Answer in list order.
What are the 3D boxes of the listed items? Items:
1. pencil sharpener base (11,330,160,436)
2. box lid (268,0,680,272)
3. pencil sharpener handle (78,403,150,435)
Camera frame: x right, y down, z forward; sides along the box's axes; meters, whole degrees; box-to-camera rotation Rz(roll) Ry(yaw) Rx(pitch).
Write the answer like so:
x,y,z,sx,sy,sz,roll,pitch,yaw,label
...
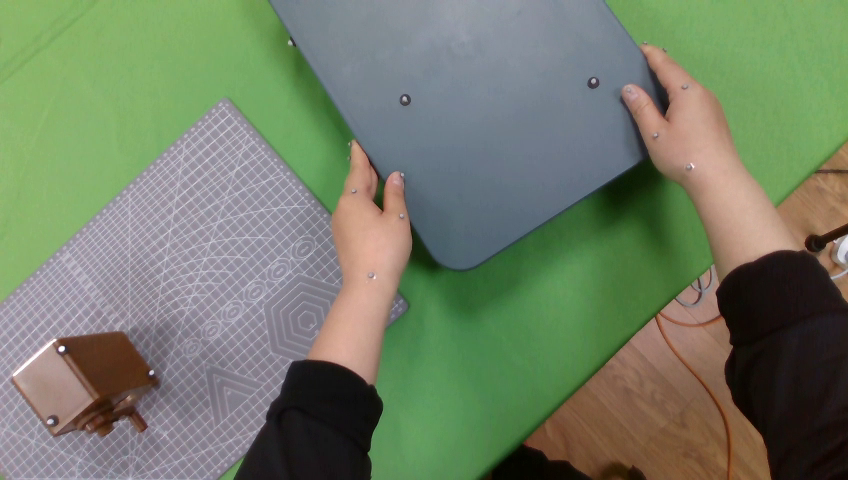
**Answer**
x,y,z,sx,sy,sz,roll,pitch,yaw,label
-0.321,0.136,0.588,0.061,0.107,0.076,-41,84,1,pencil sharpener base
0.034,-0.184,0.569,0.263,0.015,0.370,-33,83,0,box lid
-0.288,0.173,0.571,0.036,0.068,0.030,-41,83,7,pencil sharpener handle
